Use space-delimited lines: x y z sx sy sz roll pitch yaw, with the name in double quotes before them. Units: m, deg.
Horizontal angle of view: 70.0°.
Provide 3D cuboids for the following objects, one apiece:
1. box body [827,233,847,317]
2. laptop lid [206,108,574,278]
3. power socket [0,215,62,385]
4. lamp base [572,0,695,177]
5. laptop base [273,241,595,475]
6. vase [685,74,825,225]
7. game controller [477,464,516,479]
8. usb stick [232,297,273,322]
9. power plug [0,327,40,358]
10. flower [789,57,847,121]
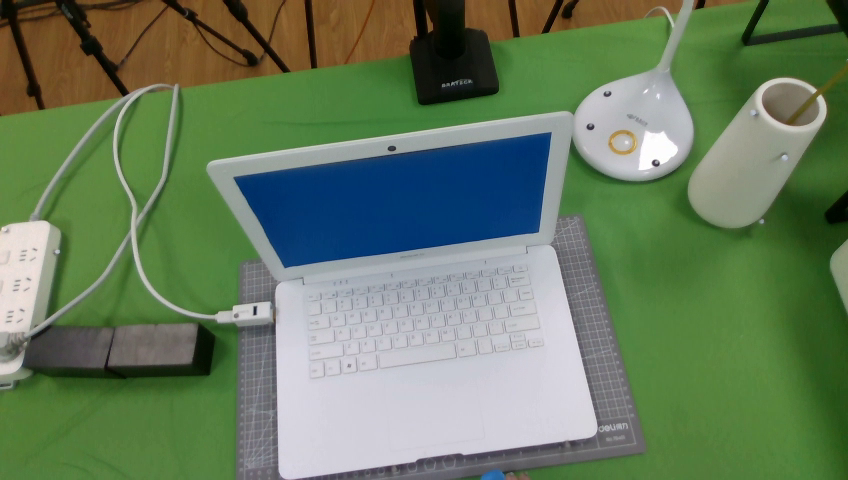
"box body" 0.608 0.121 0.596 0.254 0.161 0.361 -7 64 1
"laptop lid" -0.024 -0.038 0.661 0.357 0.244 0.013 -9 58 1
"power socket" -0.517 0.068 0.768 0.072 0.033 0.225 -5 64 1
"lamp base" 0.281 -0.198 0.759 0.160 0.182 0.178 23 66 14
"laptop base" 0.001 0.130 0.712 0.354 0.023 0.233 -8 68 0
"vase" 0.372 -0.098 0.694 0.098 0.201 0.097 -2 63 5
"game controller" 0.040 0.296 0.617 0.155 0.052 0.096 -21 60 -6
"usb stick" -0.200 0.084 0.733 0.059 0.027 0.021 -4 63 -4
"power plug" -0.483 0.124 0.718 0.072 0.053 0.035 6 64 5
"flower" 0.386 -0.135 0.620 0.038 0.364 0.043 7 55 -11
